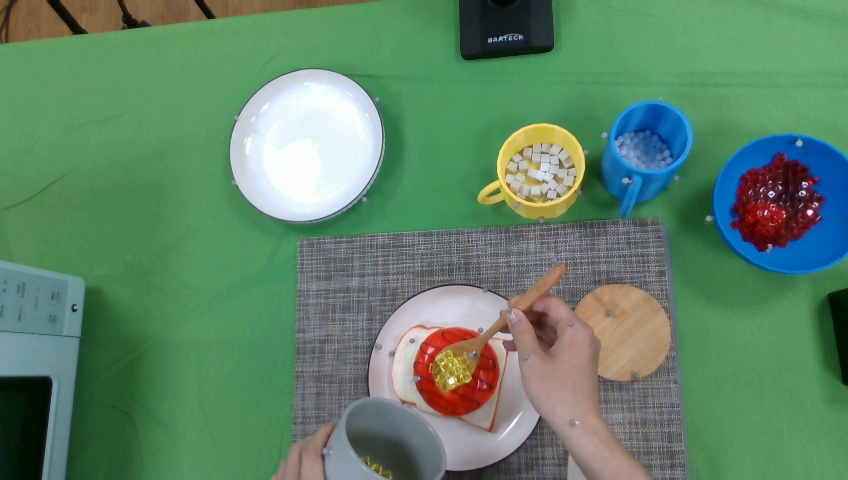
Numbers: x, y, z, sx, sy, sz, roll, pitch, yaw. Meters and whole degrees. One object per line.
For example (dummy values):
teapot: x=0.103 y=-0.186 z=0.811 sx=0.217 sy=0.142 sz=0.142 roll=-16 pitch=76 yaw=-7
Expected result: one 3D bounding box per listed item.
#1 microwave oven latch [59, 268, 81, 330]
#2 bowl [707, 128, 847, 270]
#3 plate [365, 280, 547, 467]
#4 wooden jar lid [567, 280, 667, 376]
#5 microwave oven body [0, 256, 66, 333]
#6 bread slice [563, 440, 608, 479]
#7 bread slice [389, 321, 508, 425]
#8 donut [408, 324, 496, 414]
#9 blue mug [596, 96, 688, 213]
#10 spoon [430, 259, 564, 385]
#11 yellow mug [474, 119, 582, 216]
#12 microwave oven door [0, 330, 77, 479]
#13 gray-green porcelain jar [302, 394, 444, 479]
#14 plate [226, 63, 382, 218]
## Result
microwave oven latch: x=-0.466 y=0.077 z=0.783 sx=0.030 sy=0.029 sz=0.079 roll=1 pitch=80 yaw=10
bowl: x=0.379 y=-0.037 z=0.659 sx=0.151 sy=0.077 sz=0.150 roll=-2 pitch=79 yaw=10
plate: x=0.036 y=0.151 z=0.699 sx=0.209 sy=0.038 sz=0.208 roll=-2 pitch=79 yaw=9
wooden jar lid: x=0.217 y=0.099 z=0.687 sx=0.108 sy=0.021 sz=0.108 roll=-2 pitch=80 yaw=10
microwave oven body: x=-0.628 y=0.237 z=0.681 sx=0.325 sy=0.261 sz=0.440 roll=-2 pitch=79 yaw=9
bread slice: x=0.160 y=0.263 z=0.610 sx=0.018 sy=0.135 sz=0.106 roll=5 pitch=78 yaw=2
bread slice: x=0.023 y=0.150 z=0.704 sx=0.131 sy=0.019 sz=0.104 roll=10 pitch=81 yaw=9
donut: x=0.031 y=0.142 z=0.672 sx=0.099 sy=0.048 sz=0.098 roll=-1 pitch=80 yaw=6
blue mug: x=0.236 y=-0.086 z=0.679 sx=0.082 sy=0.106 sz=0.116 roll=18 pitch=83 yaw=13
spoon: x=0.068 y=0.082 z=0.587 sx=0.041 sy=0.022 sz=0.194 roll=52 pitch=126 yaw=15
yellow mug: x=0.120 y=-0.077 z=0.718 sx=0.131 sy=0.064 sz=0.099 roll=-24 pitch=75 yaw=6
microwave oven door: x=-0.486 y=0.272 z=0.644 sx=0.039 sy=0.245 sz=0.354 roll=-2 pitch=78 yaw=10
gray-green porcelain jar: x=-0.055 y=0.227 z=0.568 sx=0.105 sy=0.106 sz=0.127 roll=35 pitch=112 yaw=15
plate: x=-0.153 y=-0.127 z=0.788 sx=0.207 sy=0.039 sz=0.206 roll=-2 pitch=79 yaw=9
